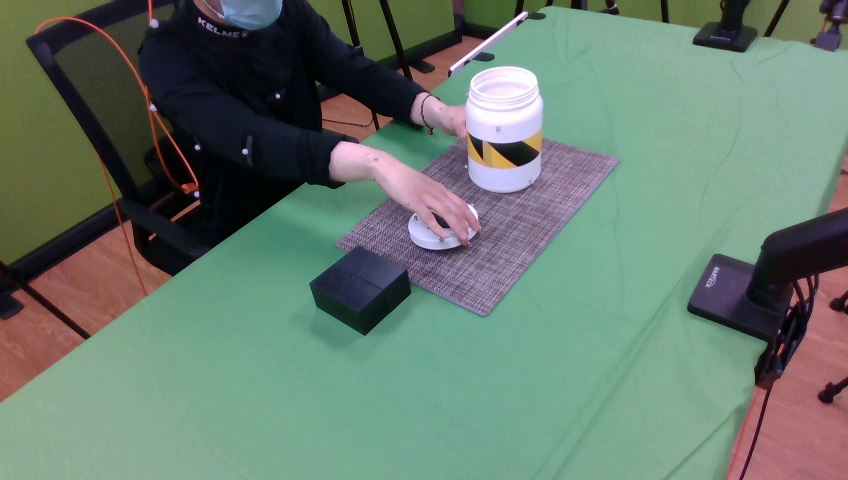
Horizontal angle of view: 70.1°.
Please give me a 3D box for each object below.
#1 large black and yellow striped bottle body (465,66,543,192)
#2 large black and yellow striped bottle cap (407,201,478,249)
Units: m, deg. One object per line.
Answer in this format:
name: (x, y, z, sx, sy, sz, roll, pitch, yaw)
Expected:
large black and yellow striped bottle body: (0.137, -0.190, 1.040, 0.131, 0.185, 0.130, -4, 41, 4)
large black and yellow striped bottle cap: (0.030, -0.026, 0.975, 0.115, 0.019, 0.114, -6, 36, 5)
